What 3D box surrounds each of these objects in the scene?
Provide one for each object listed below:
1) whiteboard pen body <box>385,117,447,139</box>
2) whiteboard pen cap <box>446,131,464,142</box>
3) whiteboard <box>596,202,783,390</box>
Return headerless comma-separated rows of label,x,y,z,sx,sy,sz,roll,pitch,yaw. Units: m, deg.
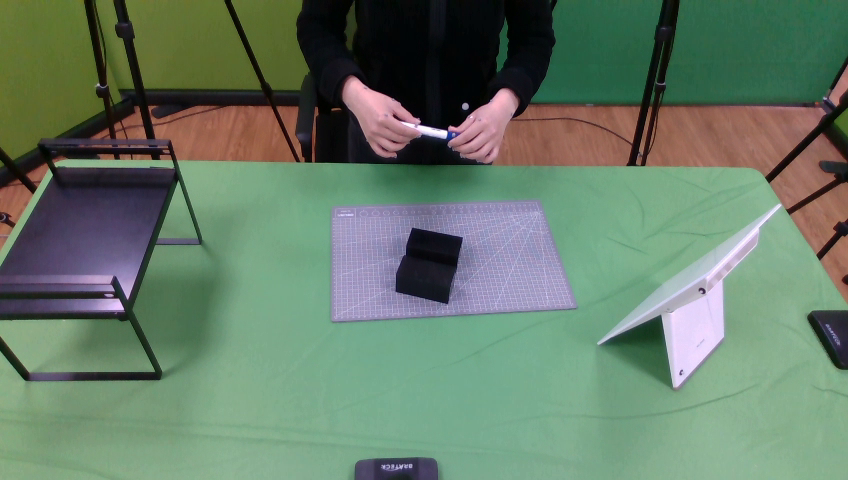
whiteboard pen body,-0.002,-0.200,1.101,0.141,0.017,0.017,12,45,-9
whiteboard pen cap,0.055,-0.189,1.108,0.033,0.018,0.018,8,46,-7
whiteboard,0.459,0.112,0.968,0.217,0.306,0.143,-31,74,-29
